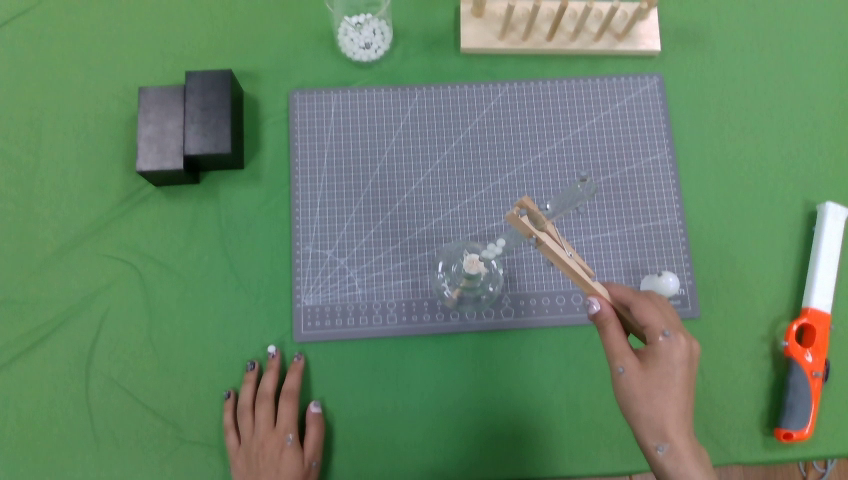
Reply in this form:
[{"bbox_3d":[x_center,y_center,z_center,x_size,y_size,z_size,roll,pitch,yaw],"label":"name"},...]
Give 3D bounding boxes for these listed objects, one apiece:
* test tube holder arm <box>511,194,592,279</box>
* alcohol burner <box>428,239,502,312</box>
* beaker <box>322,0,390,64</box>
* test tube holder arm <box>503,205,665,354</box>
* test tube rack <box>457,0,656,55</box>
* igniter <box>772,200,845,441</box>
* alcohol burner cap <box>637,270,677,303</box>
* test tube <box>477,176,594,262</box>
[{"bbox_3d":[0.103,0.000,0.485,0.088,0.015,0.010,49,57,-7],"label":"test tube holder arm"},{"bbox_3d":[0.044,0.033,0.623,0.078,0.119,0.077,1,76,-3],"label":"alcohol burner"},{"bbox_3d":[-0.075,-0.253,0.692,0.074,0.100,0.083,-1,78,-2],"label":"beaker"},{"bbox_3d":[0.131,0.035,0.490,0.179,0.015,0.013,43,59,-11],"label":"test tube holder arm"},{"bbox_3d":[0.162,-0.270,0.710,0.242,0.085,0.066,0,78,-2],"label":"test tube rack"},{"bbox_3d":[0.427,0.087,0.669,0.057,0.025,0.275,19,78,-7],"label":"igniter"},{"bbox_3d":[0.256,0.049,0.662,0.034,0.048,0.033,0,76,-1],"label":"alcohol burner cap"},{"bbox_3d":[0.082,-0.012,0.483,0.017,0.150,0.017,10,65,-22],"label":"test tube"}]
